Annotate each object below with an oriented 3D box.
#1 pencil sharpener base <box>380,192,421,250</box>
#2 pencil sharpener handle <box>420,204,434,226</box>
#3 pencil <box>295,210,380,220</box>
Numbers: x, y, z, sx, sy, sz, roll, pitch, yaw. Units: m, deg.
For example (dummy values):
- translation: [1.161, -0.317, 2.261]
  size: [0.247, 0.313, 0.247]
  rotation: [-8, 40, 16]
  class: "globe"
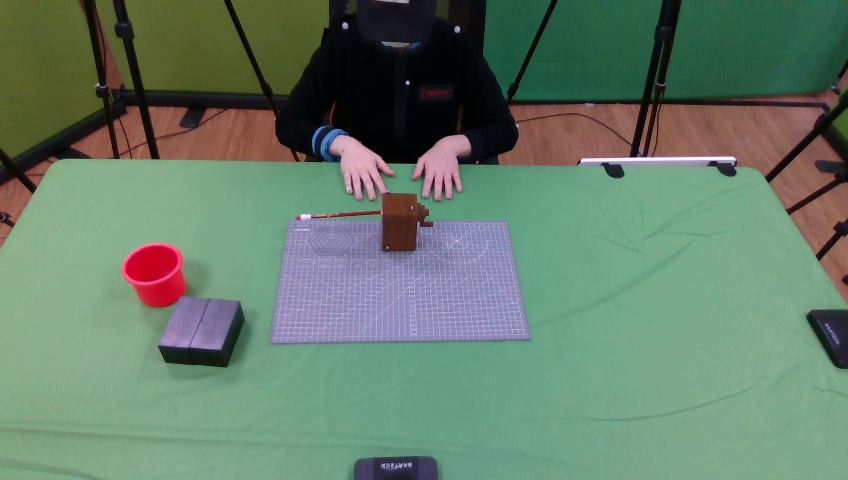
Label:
- translation: [-0.046, -0.035, 1.163]
  size: [0.077, 0.107, 0.061]
  rotation: [0, 46, -5]
  class: "pencil sharpener base"
- translation: [0.006, -0.047, 1.161]
  size: [0.031, 0.068, 0.036]
  rotation: [0, 61, -4]
  class: "pencil sharpener handle"
- translation: [-0.147, -0.049, 1.144]
  size: [0.194, 0.012, 0.012]
  rotation: [-4, 46, 3]
  class: "pencil"
